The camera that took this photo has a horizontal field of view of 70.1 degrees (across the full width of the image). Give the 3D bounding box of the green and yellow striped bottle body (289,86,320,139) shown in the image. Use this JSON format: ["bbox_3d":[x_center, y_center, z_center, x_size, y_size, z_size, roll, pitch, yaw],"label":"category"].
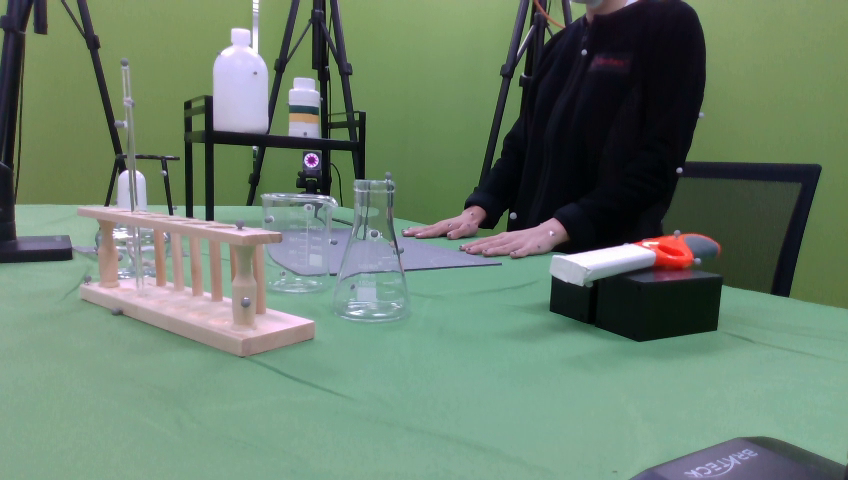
[{"bbox_3d":[-0.250,-0.272,1.261,0.063,0.119,0.063,3,7,0],"label":"green and yellow striped bottle body"}]

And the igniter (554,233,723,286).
[{"bbox_3d":[0.214,0.015,0.570,0.278,0.025,0.057,-5,22,-44],"label":"igniter"}]

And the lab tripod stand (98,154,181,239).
[{"bbox_3d":[-0.427,-0.066,0.942,0.148,0.131,0.148,1,6,0],"label":"lab tripod stand"}]

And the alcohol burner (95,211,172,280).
[{"bbox_3d":[-0.320,-0.017,0.667,0.078,0.119,0.078,0,7,0],"label":"alcohol burner"}]

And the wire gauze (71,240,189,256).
[{"bbox_3d":[-0.399,0.013,0.820,0.126,0.011,0.121,-3,8,-37],"label":"wire gauze"}]

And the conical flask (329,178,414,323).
[{"bbox_3d":[-0.045,0.007,0.534,0.075,0.122,0.075,2,7,0],"label":"conical flask"}]

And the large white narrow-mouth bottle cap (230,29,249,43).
[{"bbox_3d":[-0.352,-0.386,1.153,0.038,0.024,0.037,1,8,0],"label":"large white narrow-mouth bottle cap"}]

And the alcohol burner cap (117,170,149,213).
[{"bbox_3d":[-0.320,-0.052,0.661,0.034,0.048,0.034,-3,-1,0],"label":"alcohol burner cap"}]

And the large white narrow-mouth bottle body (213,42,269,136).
[{"bbox_3d":[-0.353,-0.301,1.166,0.102,0.194,0.102,1,8,0],"label":"large white narrow-mouth bottle body"}]

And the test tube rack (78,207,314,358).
[{"bbox_3d":[-0.196,0.024,0.500,0.241,0.085,0.067,8,8,37],"label":"test tube rack"}]

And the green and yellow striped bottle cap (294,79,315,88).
[{"bbox_3d":[-0.248,-0.323,1.256,0.045,0.020,0.045,3,9,0],"label":"green and yellow striped bottle cap"}]

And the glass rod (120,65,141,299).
[{"bbox_3d":[-0.249,-0.047,0.513,0.008,0.199,0.008,-1,4,0],"label":"glass rod"}]

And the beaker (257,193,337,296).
[{"bbox_3d":[-0.130,0.004,0.628,0.084,0.100,0.074,5,8,15],"label":"beaker"}]
